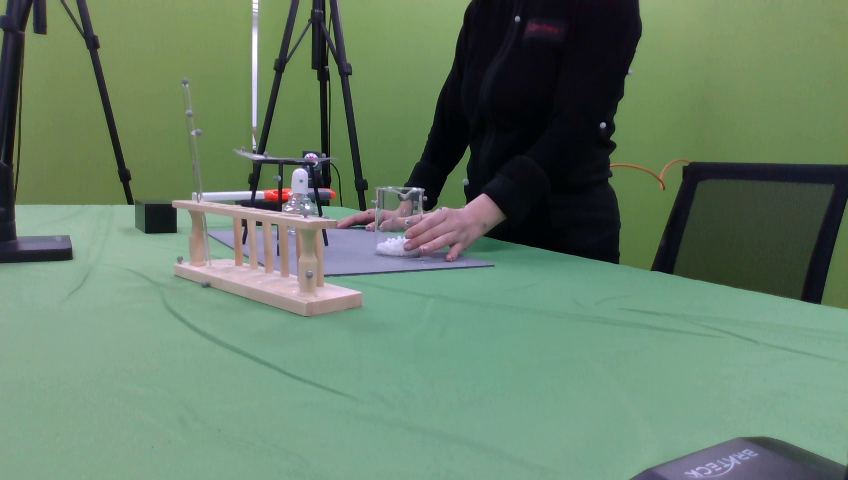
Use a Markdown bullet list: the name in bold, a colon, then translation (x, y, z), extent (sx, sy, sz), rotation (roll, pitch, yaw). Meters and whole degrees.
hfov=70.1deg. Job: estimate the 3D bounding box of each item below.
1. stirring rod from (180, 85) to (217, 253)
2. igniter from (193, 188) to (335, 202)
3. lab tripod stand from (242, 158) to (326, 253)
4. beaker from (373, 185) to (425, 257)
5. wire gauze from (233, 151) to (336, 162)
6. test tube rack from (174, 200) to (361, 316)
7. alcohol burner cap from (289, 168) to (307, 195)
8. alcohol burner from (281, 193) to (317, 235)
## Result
- **stirring rod**: translation (-0.236, -0.073, 0.634), extent (0.006, 0.176, 0.014), rotation (1, 10, 43)
- **igniter**: translation (-0.312, -0.089, 1.209), extent (0.278, 0.025, 0.057), rotation (-5, 13, -31)
- **lab tripod stand**: translation (-0.207, -0.054, 0.895), extent (0.148, 0.131, 0.148), rotation (2, 5, 0)
- **beaker**: translation (-0.037, -0.028, 0.885), extent (0.074, 0.100, 0.084), rotation (0, 9, -12)
- **wire gauze**: translation (-0.204, -0.120, 0.887), extent (0.122, 0.011, 0.124), rotation (0, 7, -32)
- **test tube rack**: translation (-0.169, 0.009, 0.622), extent (0.241, 0.085, 0.067), rotation (9, 9, 41)
- **alcohol burner cap**: translation (-0.224, -0.105, 1.081), extent (0.034, 0.048, 0.034), rotation (3, 3, 0)
- **alcohol burner**: translation (-0.225, -0.069, 1.086), extent (0.078, 0.119, 0.078), rotation (2, 6, 0)
